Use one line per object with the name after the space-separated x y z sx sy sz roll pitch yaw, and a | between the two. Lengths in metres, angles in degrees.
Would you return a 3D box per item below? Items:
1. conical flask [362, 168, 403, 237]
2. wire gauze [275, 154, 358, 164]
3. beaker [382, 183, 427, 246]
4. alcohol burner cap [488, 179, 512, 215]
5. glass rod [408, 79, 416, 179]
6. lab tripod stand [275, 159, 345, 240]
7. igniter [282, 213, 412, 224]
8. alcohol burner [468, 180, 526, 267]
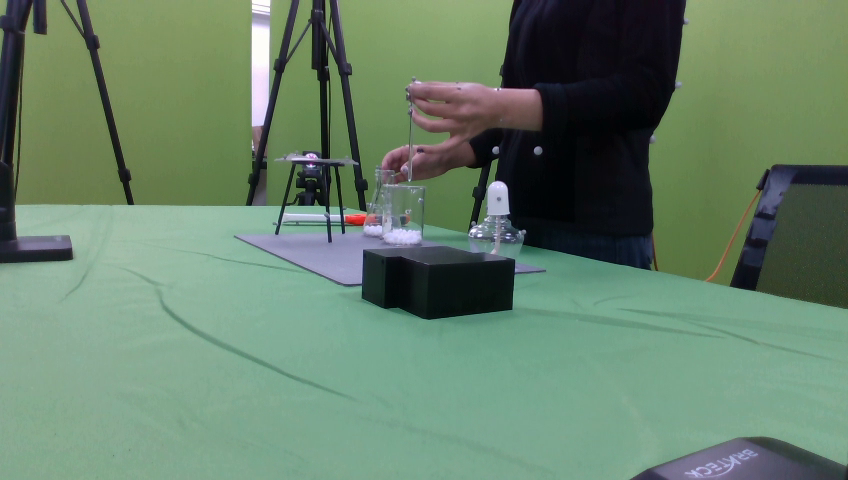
-0.073 -0.069 1.096 0.075 0.122 0.075 2 8 0 | conical flask
-0.179 -0.137 1.028 0.121 0.011 0.125 4 8 0 | wire gauze
-0.032 -0.044 1.007 0.074 0.100 0.084 6 7 22 | beaker
0.101 -0.058 0.816 0.034 0.048 0.034 -5 8 1 | alcohol burner cap
-0.018 -0.167 0.944 0.008 0.200 0.008 2 51 -2 | glass rod
-0.181 -0.072 1.039 0.148 0.131 0.148 4 8 0 | lab tripod stand
-0.159 -0.046 1.287 0.278 0.025 0.057 -1 -3 -21 | igniter
0.101 -0.022 0.821 0.078 0.119 0.078 4 8 0 | alcohol burner
